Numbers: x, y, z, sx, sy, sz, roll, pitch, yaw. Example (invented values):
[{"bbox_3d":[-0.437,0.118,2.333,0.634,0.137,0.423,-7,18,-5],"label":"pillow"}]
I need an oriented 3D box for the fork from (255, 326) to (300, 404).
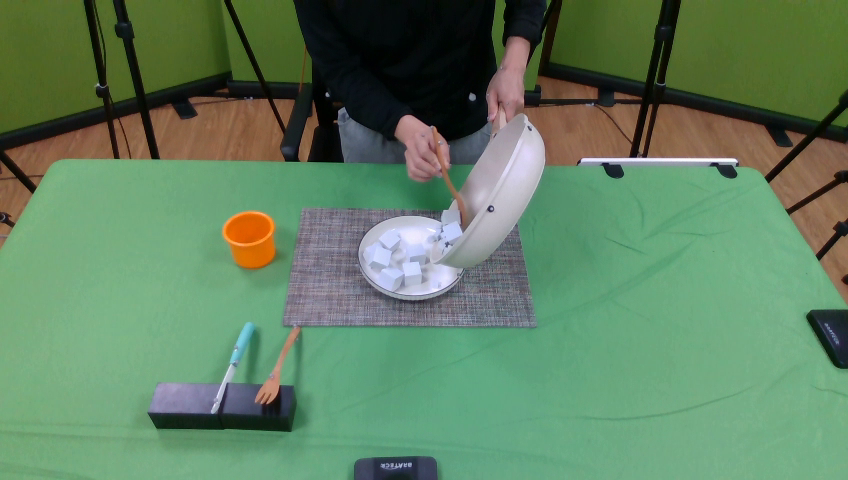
[{"bbox_3d":[-0.226,0.192,0.955,0.028,0.019,0.206,-3,27,5],"label":"fork"}]

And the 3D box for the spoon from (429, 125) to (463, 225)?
[{"bbox_3d":[0.039,-0.112,1.078,0.021,0.194,0.041,-21,27,3],"label":"spoon"}]

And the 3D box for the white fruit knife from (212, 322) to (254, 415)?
[{"bbox_3d":[-0.298,0.193,0.947,0.016,0.027,0.206,1,31,-1],"label":"white fruit knife"}]

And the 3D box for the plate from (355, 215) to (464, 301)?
[{"bbox_3d":[-0.025,0.038,1.143,0.208,0.039,0.206,3,46,-2],"label":"plate"}]

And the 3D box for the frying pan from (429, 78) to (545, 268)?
[{"bbox_3d":[0.126,-0.151,1.091,0.103,0.307,0.485,25,48,-15],"label":"frying pan"}]
